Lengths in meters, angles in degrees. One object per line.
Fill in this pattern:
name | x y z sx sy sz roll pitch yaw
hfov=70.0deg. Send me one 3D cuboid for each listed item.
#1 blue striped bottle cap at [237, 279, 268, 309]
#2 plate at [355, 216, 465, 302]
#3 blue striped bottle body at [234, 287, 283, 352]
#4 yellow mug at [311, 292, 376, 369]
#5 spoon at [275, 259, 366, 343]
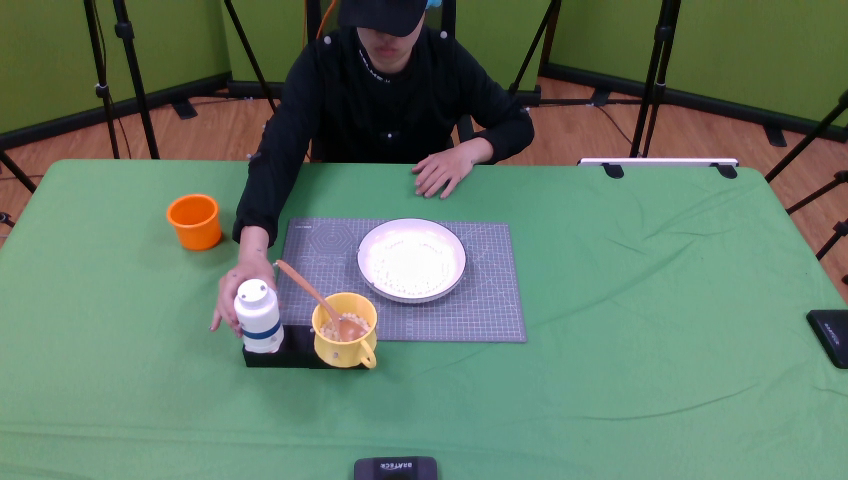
blue striped bottle cap | -0.253 0.079 0.892 0.044 0.021 0.044 4 46 -4
plate | -0.027 0.039 1.144 0.208 0.039 0.206 2 46 -2
blue striped bottle body | -0.254 0.114 0.929 0.063 0.121 0.062 3 46 -2
yellow mug | -0.115 0.150 0.945 0.100 0.064 0.130 -30 57 -28
spoon | -0.161 0.098 0.946 0.194 0.021 0.041 48 56 -5
